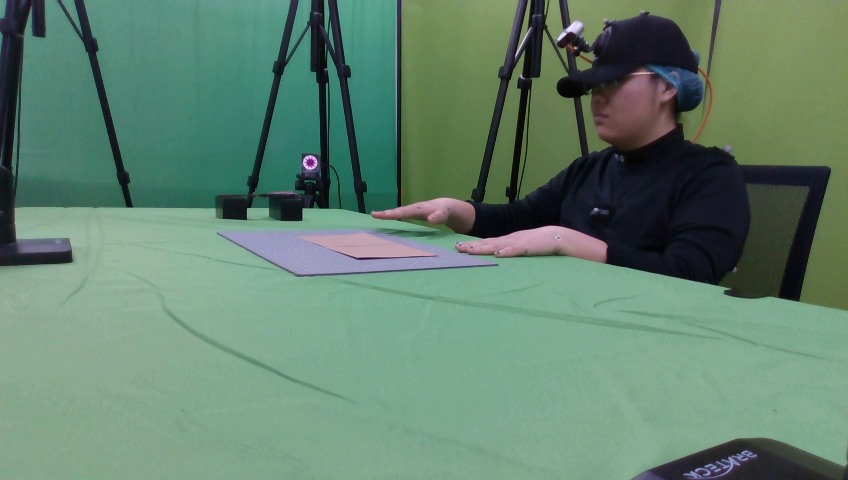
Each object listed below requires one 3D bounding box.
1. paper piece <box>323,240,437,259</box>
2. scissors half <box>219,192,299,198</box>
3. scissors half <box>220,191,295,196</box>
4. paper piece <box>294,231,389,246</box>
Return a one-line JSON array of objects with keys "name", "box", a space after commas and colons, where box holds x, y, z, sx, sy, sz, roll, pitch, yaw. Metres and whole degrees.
[{"name": "paper piece", "box": [-0.069, 0.015, 0.932, 0.137, 0.008, 0.137, -5, 11, -30]}, {"name": "scissors half", "box": [-0.370, -0.101, 1.363, 0.176, 0.013, 0.040, -2, 9, -19]}, {"name": "scissors half", "box": [-0.379, -0.105, 1.380, 0.176, 0.013, 0.040, -5, 16, -36]}, {"name": "paper piece", "box": [-0.138, -0.003, 1.045, 0.136, 0.004, 0.134, -3, 10, -31]}]
